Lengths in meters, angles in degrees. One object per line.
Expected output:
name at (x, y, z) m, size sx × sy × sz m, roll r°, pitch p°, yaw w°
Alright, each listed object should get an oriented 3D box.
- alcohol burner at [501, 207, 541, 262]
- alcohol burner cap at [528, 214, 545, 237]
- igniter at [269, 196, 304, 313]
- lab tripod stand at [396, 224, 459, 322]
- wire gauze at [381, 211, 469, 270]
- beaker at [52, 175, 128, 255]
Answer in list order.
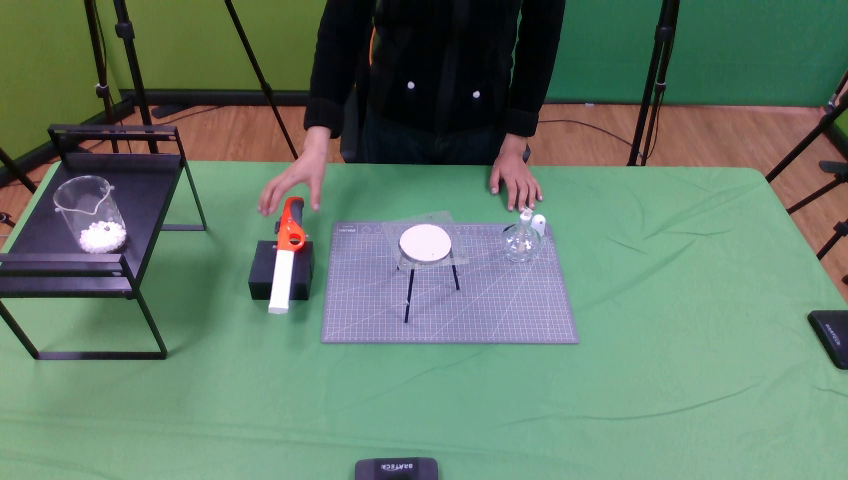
alcohol burner at (0.188, -0.015, 1.160) m, size 0.078 × 0.120 × 0.077 m, roll 1°, pitch 44°, yaw -1°
alcohol burner cap at (0.231, -0.032, 1.230) m, size 0.034 × 0.048 × 0.033 m, roll 2°, pitch 46°, yaw -2°
igniter at (-0.249, 0.016, 1.095) m, size 0.057 × 0.025 × 0.274 m, roll 8°, pitch 46°, yaw -13°
lab tripod stand at (-0.004, 0.052, 1.066) m, size 0.148 × 0.132 × 0.147 m, roll 3°, pitch 48°, yaw -3°
wire gauze at (0.000, 0.001, 1.023) m, size 0.125 × 0.011 × 0.120 m, roll -9°, pitch 48°, yaw -13°
beaker at (-0.482, -0.032, 0.888) m, size 0.074 × 0.101 × 0.083 m, roll -28°, pitch 55°, yaw -27°
